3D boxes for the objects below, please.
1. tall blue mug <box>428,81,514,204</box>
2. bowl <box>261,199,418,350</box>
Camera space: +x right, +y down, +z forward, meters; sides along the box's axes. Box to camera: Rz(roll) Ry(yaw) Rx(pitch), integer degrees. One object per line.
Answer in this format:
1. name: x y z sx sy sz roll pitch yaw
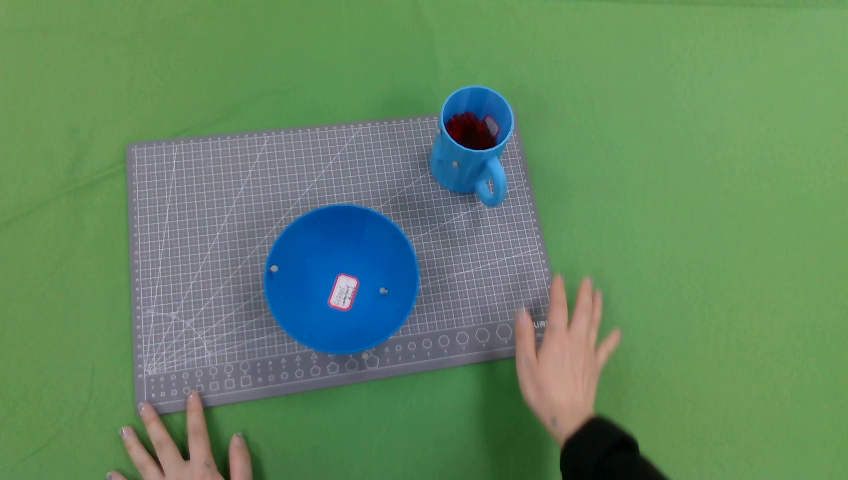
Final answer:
1. tall blue mug: 0.060 -0.101 0.660 0.107 0.108 0.077 38 72 6
2. bowl: -0.084 0.042 0.620 0.151 0.077 0.150 2 74 -6
